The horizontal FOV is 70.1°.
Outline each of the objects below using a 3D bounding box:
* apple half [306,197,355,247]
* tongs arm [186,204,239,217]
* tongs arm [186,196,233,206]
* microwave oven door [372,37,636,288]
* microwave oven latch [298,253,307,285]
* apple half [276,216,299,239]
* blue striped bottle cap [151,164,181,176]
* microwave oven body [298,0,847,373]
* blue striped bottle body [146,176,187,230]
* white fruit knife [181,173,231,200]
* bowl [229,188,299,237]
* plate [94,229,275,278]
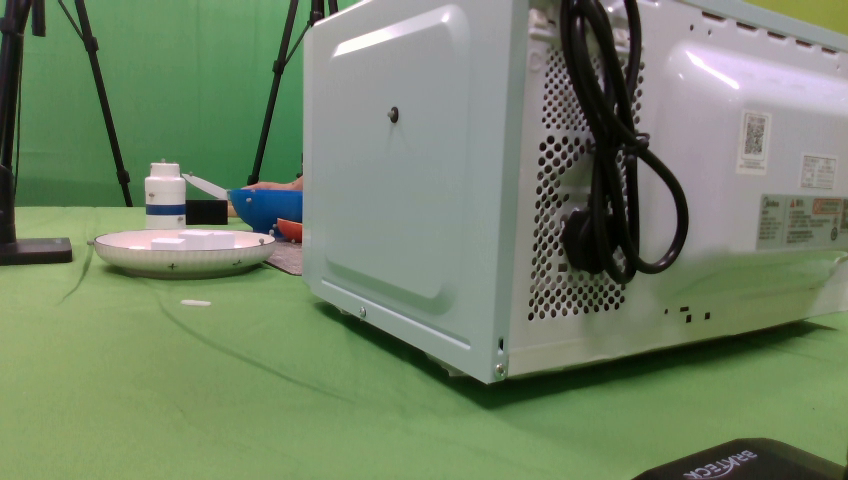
[{"bbox_3d":[-0.137,-0.025,0.938,0.053,0.074,0.081,16,18,34],"label":"apple half"},{"bbox_3d":[-0.396,-0.067,1.399,0.389,0.028,0.028,1,5,-15],"label":"tongs arm"},{"bbox_3d":[-0.404,-0.081,1.479,0.385,0.026,0.050,3,8,-2],"label":"tongs arm"},{"bbox_3d":[0.110,-0.080,0.686,0.358,0.243,0.039,-2,9,-33],"label":"microwave oven door"},{"bbox_3d":[-0.081,0.027,0.582,0.079,0.029,0.030,-1,7,-32],"label":"microwave oven latch"},{"bbox_3d":[-0.201,-0.016,0.984,0.081,0.033,0.081,11,2,0],"label":"apple half"},{"bbox_3d":[-0.428,-0.116,1.002,0.044,0.020,0.044,1,6,0],"label":"blue striped bottle cap"},{"bbox_3d":[0.151,-0.055,0.542,0.444,0.260,0.324,-2,7,-33],"label":"microwave oven body"},{"bbox_3d":[-0.430,-0.065,1.010,0.063,0.120,0.063,2,7,0],"label":"blue striped bottle body"},{"bbox_3d":[-0.412,-0.094,1.272,0.208,0.027,0.016,28,-14,-38],"label":"white fruit knife"},{"bbox_3d":[-0.265,-0.048,1.066,0.151,0.077,0.151,3,8,0],"label":"bowl"},{"bbox_3d":[-0.291,0.016,0.750,0.208,0.039,0.207,2,7,0],"label":"plate"}]
